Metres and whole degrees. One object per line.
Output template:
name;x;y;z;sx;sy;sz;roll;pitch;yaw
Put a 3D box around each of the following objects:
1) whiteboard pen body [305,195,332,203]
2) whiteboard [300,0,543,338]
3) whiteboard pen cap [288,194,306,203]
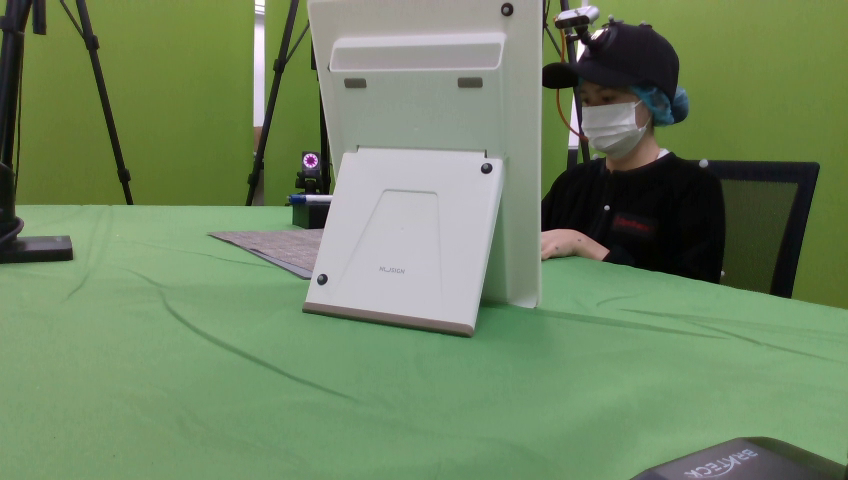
whiteboard pen body;-0.201;-0.085;1.237;0.141;0.017;0.017;-2;9;-33
whiteboard;-0.020;-0.050;0.523;0.216;0.305;0.144;6;27;22
whiteboard pen cap;-0.253;-0.083;1.204;0.033;0.018;0.018;-4;10;-34
